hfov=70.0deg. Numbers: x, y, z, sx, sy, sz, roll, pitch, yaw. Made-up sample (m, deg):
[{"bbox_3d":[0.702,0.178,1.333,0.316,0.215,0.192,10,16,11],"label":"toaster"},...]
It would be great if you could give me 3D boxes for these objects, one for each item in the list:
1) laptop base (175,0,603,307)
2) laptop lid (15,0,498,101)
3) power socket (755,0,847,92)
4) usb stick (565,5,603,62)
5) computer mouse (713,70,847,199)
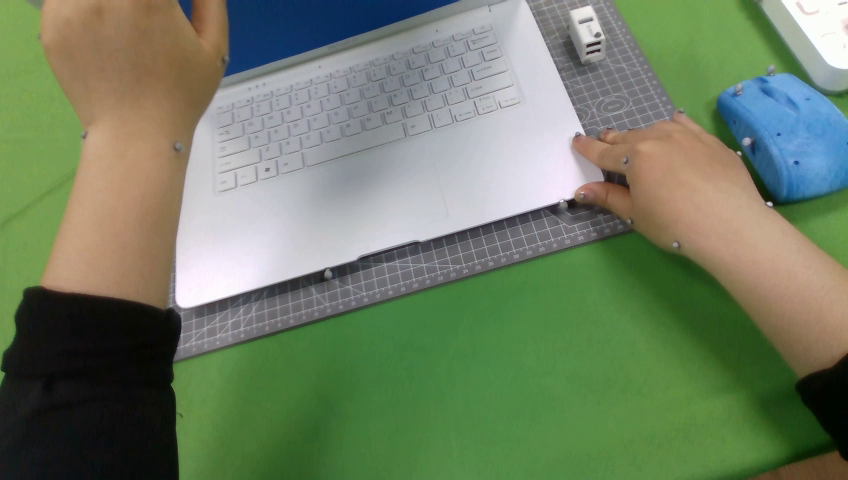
[{"bbox_3d":[-0.051,-0.087,0.535,0.354,0.023,0.233,-16,61,3],"label":"laptop base"},{"bbox_3d":[-0.089,-0.198,0.476,0.356,0.242,0.013,-16,83,5],"label":"laptop lid"},{"bbox_3d":[0.324,-0.213,0.511,0.072,0.033,0.224,-14,58,7],"label":"power socket"},{"bbox_3d":[0.141,-0.189,0.542,0.021,0.027,0.058,-15,54,7],"label":"usb stick"},{"bbox_3d":[0.267,-0.085,0.447,0.063,0.041,0.116,-17,53,6],"label":"computer mouse"}]
